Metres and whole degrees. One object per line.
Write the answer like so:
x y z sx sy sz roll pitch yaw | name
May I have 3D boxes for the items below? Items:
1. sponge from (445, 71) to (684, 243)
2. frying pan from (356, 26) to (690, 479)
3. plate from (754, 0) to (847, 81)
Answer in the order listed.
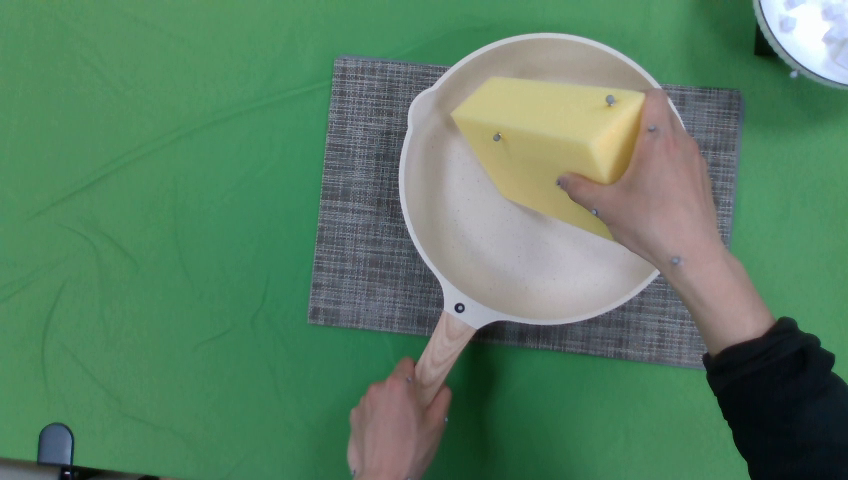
0.119 -0.084 0.552 0.061 0.205 0.119 -45 122 -10 | sponge
0.064 0.020 0.617 0.306 0.103 0.487 31 82 4 | frying pan
0.423 -0.255 0.594 0.208 0.039 0.207 0 89 1 | plate
